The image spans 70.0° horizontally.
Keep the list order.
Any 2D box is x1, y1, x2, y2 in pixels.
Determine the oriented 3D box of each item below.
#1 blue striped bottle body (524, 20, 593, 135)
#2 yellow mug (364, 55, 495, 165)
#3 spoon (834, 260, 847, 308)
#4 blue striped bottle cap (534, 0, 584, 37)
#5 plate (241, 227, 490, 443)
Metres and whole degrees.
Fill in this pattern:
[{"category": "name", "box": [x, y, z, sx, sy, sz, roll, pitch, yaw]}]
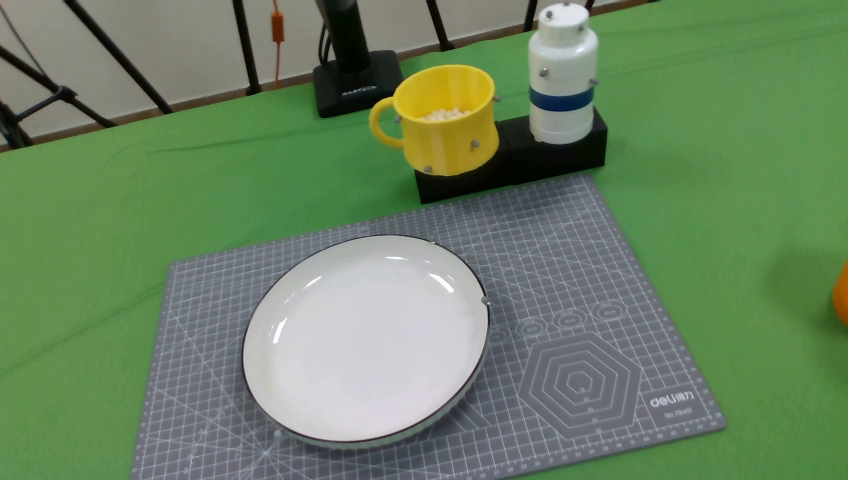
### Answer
[{"category": "blue striped bottle body", "box": [0.127, -0.166, 0.577, 0.063, 0.122, 0.062, -6, 47, 7]}, {"category": "yellow mug", "box": [0.003, -0.129, 0.606, 0.130, 0.064, 0.099, -3, 47, 10]}, {"category": "spoon", "box": [0.382, -0.019, 0.434, 0.194, 0.022, 0.041, -47, 39, 23]}, {"category": "blue striped bottle cap", "box": [0.120, -0.201, 0.540, 0.044, 0.021, 0.044, -7, 47, 8]}, {"category": "plate", "box": [-0.046, 0.076, 0.510, 0.207, 0.039, 0.205, -5, 46, 6]}]
